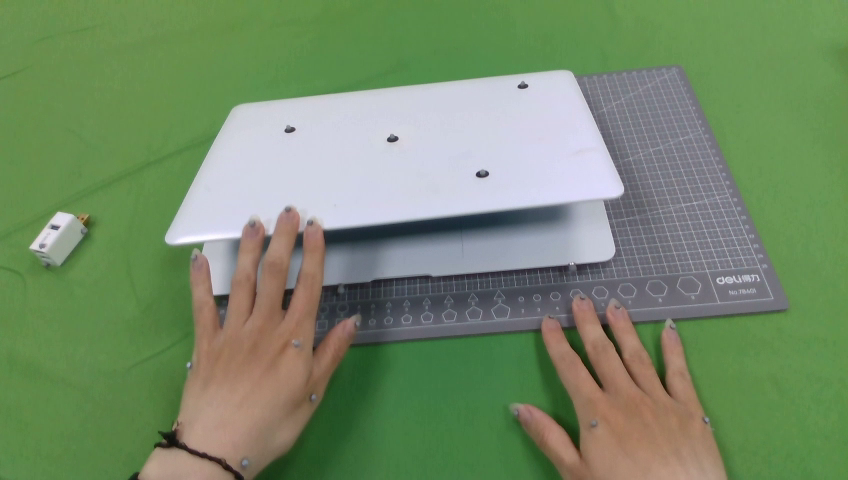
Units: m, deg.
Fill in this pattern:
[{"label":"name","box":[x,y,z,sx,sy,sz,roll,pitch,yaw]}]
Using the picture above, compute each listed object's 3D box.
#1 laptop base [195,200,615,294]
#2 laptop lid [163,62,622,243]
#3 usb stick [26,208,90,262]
[{"label":"laptop base","box":[-0.023,-0.061,0.568,0.354,0.023,0.233,-5,56,4]},{"label":"laptop lid","box":[-0.028,-0.089,0.536,0.356,0.013,0.239,-5,40,5]},{"label":"usb stick","box":[-0.339,-0.010,0.567,0.021,0.027,0.059,10,52,18]}]
